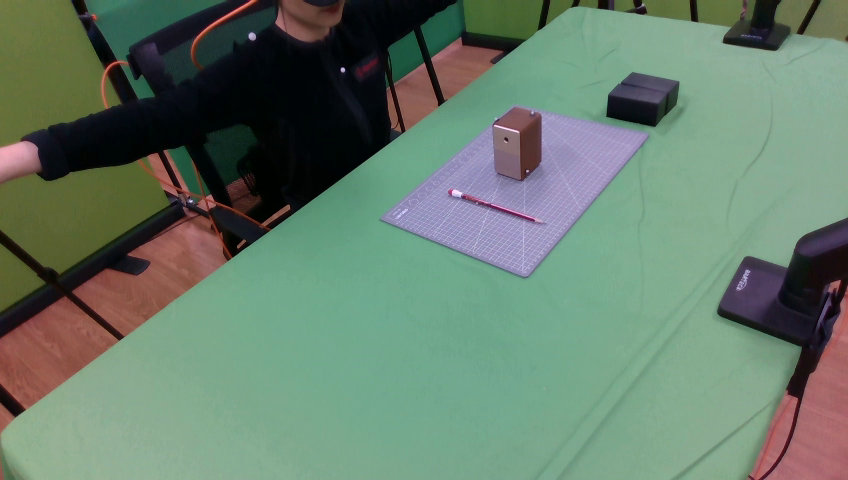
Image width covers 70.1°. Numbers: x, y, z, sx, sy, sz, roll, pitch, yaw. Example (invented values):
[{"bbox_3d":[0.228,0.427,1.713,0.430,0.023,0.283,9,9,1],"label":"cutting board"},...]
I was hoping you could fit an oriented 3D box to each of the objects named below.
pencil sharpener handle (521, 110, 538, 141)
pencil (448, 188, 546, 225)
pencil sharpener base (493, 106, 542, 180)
[{"bbox_3d":[0.198,-0.214,1.106,0.036,0.068,0.031,30,53,25],"label":"pencil sharpener handle"},{"bbox_3d":[0.122,-0.057,1.033,0.192,0.012,0.012,22,50,30],"label":"pencil"},{"bbox_3d":[0.170,-0.175,1.085,0.061,0.107,0.077,23,49,33],"label":"pencil sharpener base"}]
